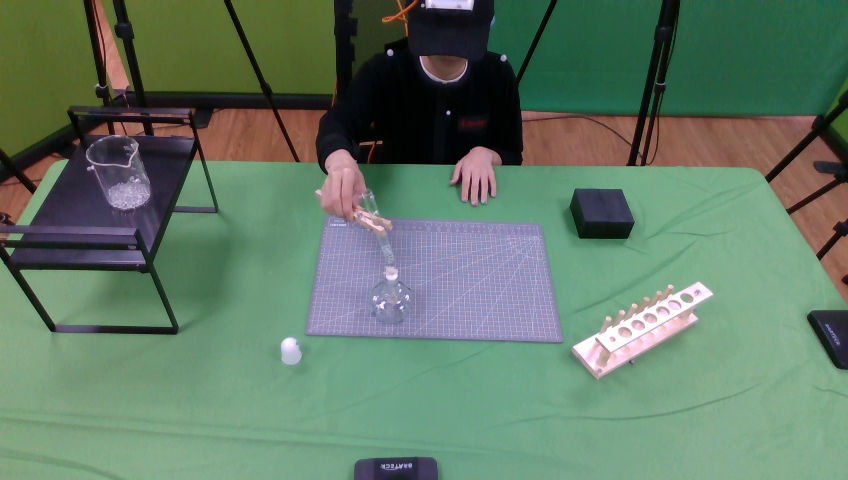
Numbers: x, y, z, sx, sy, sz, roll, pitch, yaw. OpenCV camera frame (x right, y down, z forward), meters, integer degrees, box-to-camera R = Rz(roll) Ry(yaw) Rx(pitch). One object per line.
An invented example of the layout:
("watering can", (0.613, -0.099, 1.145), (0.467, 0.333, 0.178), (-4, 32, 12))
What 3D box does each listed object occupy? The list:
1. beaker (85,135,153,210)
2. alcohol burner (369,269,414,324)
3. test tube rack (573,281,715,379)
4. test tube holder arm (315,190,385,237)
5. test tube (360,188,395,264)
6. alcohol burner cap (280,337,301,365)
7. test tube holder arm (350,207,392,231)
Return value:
("beaker", (-0.475, -0.102, 0.957), (0.083, 0.101, 0.074), (34, 53, 26))
("alcohol burner", (-0.056, 0.089, 1.037), (0.078, 0.120, 0.077), (1, 48, -1))
("test tube rack", (0.378, 0.140, 1.038), (0.242, 0.085, 0.066), (-22, 51, -23))
("test tube holder arm", (-0.122, -0.046, 0.972), (0.013, 0.015, 0.177), (-39, 46, -26))
("test tube", (-0.070, -0.018, 0.936), (0.017, 0.151, 0.017), (-10, 42, 9))
("alcohol burner cap", (-0.220, 0.179, 0.993), (0.034, 0.048, 0.033), (3, 46, -2))
("test tube holder arm", (-0.086, -0.034, 0.947), (0.087, 0.015, 0.010), (20, 52, 34))
